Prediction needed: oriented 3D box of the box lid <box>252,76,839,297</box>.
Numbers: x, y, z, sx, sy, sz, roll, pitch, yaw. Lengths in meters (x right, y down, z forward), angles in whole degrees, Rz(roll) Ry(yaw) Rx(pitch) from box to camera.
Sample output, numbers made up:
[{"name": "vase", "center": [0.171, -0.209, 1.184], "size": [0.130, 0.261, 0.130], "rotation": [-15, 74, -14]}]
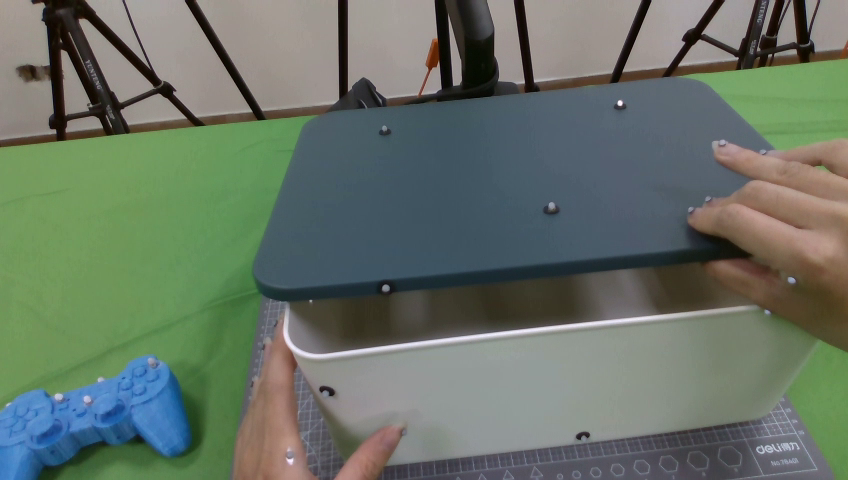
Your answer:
[{"name": "box lid", "center": [0.069, -0.057, 0.465], "size": [0.371, 0.015, 0.260], "rotation": [-5, 35, 3]}]

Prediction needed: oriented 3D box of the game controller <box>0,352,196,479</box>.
[{"name": "game controller", "center": [-0.274, 0.148, 0.500], "size": [0.155, 0.052, 0.096], "rotation": [-16, 40, -12]}]

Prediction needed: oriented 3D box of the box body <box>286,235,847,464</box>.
[{"name": "box body", "center": [0.092, 0.025, 0.503], "size": [0.364, 0.162, 0.251], "rotation": [-7, 42, -1]}]
